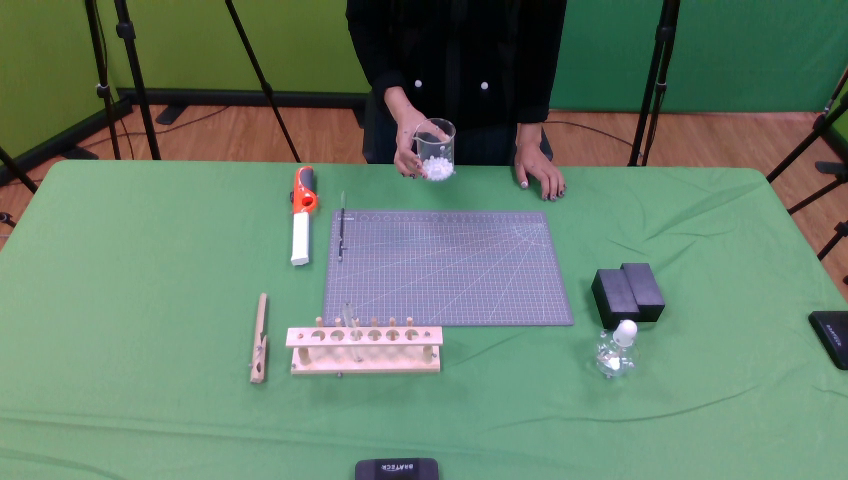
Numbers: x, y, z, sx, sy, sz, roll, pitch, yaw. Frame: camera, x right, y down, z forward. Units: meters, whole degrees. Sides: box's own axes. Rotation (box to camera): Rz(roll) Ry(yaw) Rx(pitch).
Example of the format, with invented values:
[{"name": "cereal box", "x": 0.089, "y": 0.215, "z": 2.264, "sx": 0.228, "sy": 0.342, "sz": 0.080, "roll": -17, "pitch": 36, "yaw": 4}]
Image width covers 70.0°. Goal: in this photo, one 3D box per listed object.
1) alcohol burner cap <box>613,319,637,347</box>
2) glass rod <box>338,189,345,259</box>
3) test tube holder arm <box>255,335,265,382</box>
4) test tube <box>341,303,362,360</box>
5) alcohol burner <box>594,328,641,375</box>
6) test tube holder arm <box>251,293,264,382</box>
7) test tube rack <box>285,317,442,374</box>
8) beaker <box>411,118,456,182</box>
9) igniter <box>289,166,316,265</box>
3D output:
[{"name": "alcohol burner cap", "x": 0.323, "y": 0.146, "z": 0.966, "sx": 0.034, "sy": 0.048, "sz": 0.033, "roll": -1, "pitch": 52, "yaw": 2}, {"name": "glass rod", "x": -0.166, "y": -0.037, "z": 1.226, "sx": 0.008, "sy": 0.008, "sz": 0.198, "roll": -1, "pitch": 47, "yaw": -4}, {"name": "test tube holder arm", "x": -0.270, "y": 0.193, "z": 0.997, "sx": 0.010, "sy": 0.015, "sz": 0.087, "roll": 24, "pitch": 36, "yaw": -32}, {"name": "test tube", "x": -0.111, "y": 0.145, "z": 0.938, "sx": 0.017, "sy": 0.151, "sz": 0.017, "roll": -1, "pitch": 50, "yaw": 2}, {"name": "alcohol burner", "x": 0.322, "y": 0.170, "z": 0.994, "sx": 0.078, "sy": 0.119, "sz": 0.077, "roll": 3, "pitch": 48, "yaw": -3}, {"name": "test tube holder arm", "x": -0.281, "y": 0.159, "z": 1.025, "sx": 0.013, "sy": 0.015, "sz": 0.177, "roll": 23, "pitch": 36, "yaw": -32}, {"name": "test tube rack", "x": -0.095, "y": 0.166, "z": 0.988, "sx": 0.242, "sy": 0.085, "sz": 0.066, "roll": 0, "pitch": 46, "yaw": -4}, {"name": "beaker", "x": 0.019, "y": -0.166, "z": 1.139, "sx": 0.084, "sy": 0.101, "sz": 0.073, "roll": -11, "pitch": 48, "yaw": -7}, {"name": "igniter", "x": -0.248, "y": -0.058, "z": 1.233, "sx": 0.057, "sy": 0.025, "sz": 0.274, "roll": -9, "pitch": 47, "yaw": 1}]
